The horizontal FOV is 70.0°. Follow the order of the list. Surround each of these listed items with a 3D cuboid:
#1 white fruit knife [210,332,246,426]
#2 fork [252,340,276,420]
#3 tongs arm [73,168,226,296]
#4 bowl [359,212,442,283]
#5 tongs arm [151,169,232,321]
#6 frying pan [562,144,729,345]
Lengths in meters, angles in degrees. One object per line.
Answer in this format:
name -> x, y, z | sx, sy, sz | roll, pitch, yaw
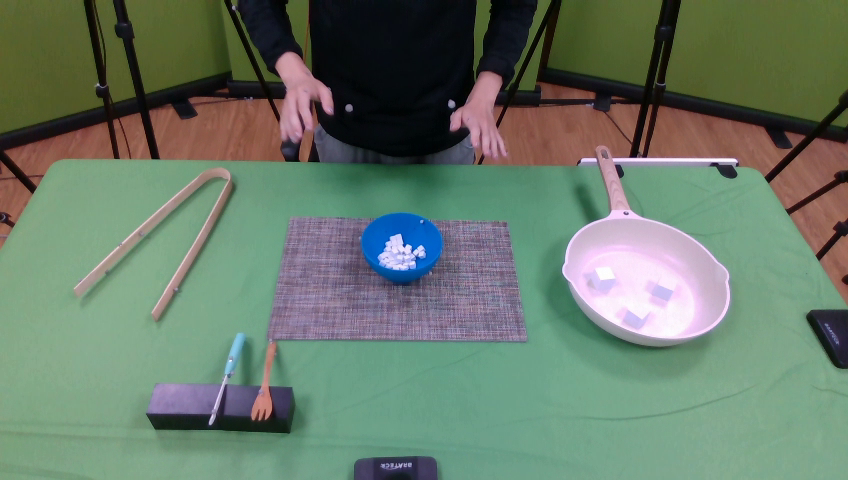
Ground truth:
white fruit knife -> -0.301, 0.206, 0.930 | 0.016, 0.027, 0.206 | 5, 29, -7
fork -> -0.242, 0.211, 0.932 | 0.028, 0.019, 0.206 | -8, 27, -5
tongs arm -> -0.515, -0.026, 1.172 | 0.050, 0.026, 0.383 | 18, 46, 12
bowl -> -0.044, 0.026, 1.125 | 0.151, 0.077, 0.150 | 2, 46, -2
tongs arm -> -0.437, -0.005, 1.163 | 0.028, 0.028, 0.385 | 6, 46, 5
frying pan -> 0.396, -0.008, 1.179 | 0.307, 0.103, 0.484 | 1, 55, -4
